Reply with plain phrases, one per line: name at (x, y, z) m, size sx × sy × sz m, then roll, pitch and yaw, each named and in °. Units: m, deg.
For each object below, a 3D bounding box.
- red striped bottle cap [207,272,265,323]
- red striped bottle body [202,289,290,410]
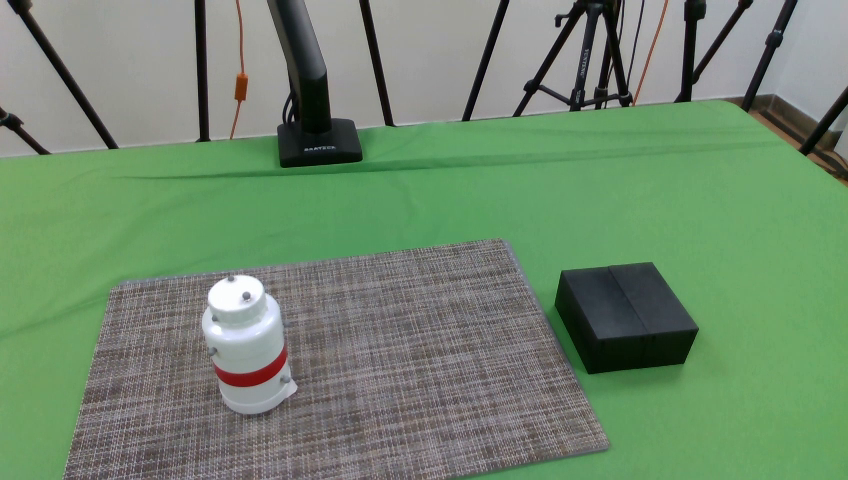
red striped bottle cap at (-0.153, 0.046, 0.492) m, size 0.044 × 0.018 × 0.044 m, roll 4°, pitch 37°, yaw -3°
red striped bottle body at (-0.154, 0.087, 0.526) m, size 0.063 × 0.120 × 0.062 m, roll 1°, pitch 38°, yaw -1°
